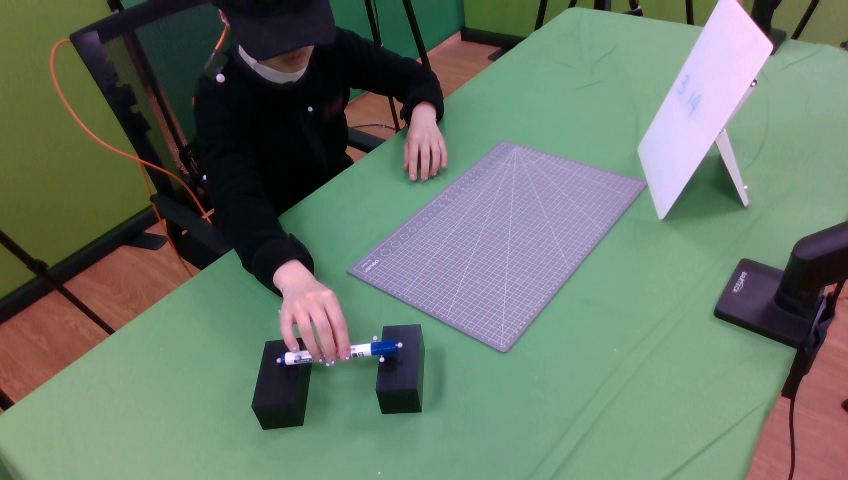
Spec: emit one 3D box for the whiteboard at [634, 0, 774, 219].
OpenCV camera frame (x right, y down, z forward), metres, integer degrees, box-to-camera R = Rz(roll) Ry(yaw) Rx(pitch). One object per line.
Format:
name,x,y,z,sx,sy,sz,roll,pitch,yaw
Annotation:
whiteboard,0.485,-0.192,0.957,0.144,0.305,0.216,14,41,-4

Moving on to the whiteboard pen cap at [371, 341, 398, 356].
whiteboard pen cap,-0.049,0.134,0.743,0.033,0.018,0.018,-8,40,6

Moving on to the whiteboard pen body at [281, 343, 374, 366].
whiteboard pen body,-0.107,0.140,0.746,0.141,0.017,0.017,-7,40,5
